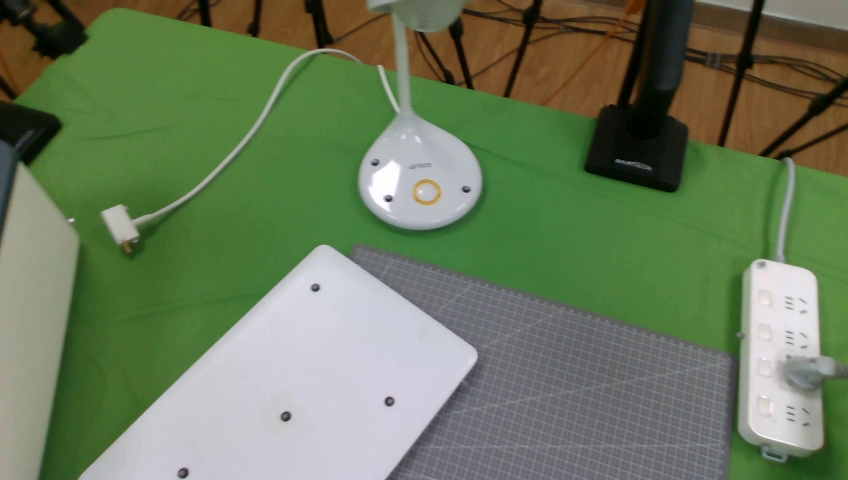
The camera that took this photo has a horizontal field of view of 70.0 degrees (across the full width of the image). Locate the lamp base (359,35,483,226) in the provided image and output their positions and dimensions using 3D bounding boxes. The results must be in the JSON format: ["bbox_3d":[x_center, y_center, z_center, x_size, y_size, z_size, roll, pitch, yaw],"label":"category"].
[{"bbox_3d":[-0.011,-0.136,0.724,0.161,0.182,0.177,-18,56,-10],"label":"lamp base"}]

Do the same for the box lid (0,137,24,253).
[{"bbox_3d":[-0.519,0.059,0.535,0.263,0.015,0.367,-8,59,-3],"label":"box lid"}]

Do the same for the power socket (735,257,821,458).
[{"bbox_3d":[0.375,0.115,0.643,0.072,0.033,0.225,15,59,9],"label":"power socket"}]

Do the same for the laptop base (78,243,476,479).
[{"bbox_3d":[-0.140,0.181,0.625,0.234,0.023,0.353,35,65,18],"label":"laptop base"}]

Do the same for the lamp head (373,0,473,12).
[{"bbox_3d":[0.007,-0.241,0.459,0.112,0.112,0.123,-11,101,-5],"label":"lamp head"}]

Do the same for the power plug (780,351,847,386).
[{"bbox_3d":[0.393,0.135,0.602,0.072,0.053,0.035,24,61,15],"label":"power plug"}]

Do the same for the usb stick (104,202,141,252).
[{"bbox_3d":[-0.365,-0.015,0.741,0.027,0.021,0.059,-25,90,-31],"label":"usb stick"}]

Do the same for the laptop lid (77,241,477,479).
[{"bbox_3d":[-0.138,0.176,0.614,0.240,0.013,0.356,36,65,19],"label":"laptop lid"}]

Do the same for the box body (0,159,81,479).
[{"bbox_3d":[-0.518,0.101,0.596,0.254,0.162,0.360,-8,58,-4],"label":"box body"}]
